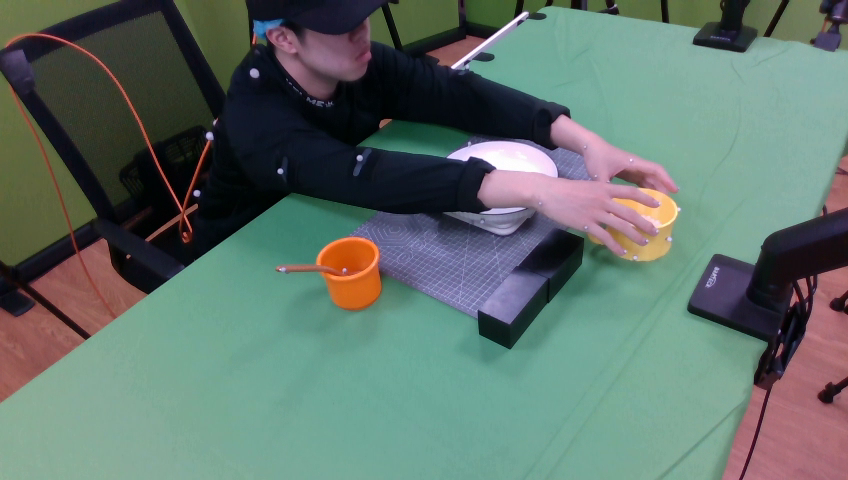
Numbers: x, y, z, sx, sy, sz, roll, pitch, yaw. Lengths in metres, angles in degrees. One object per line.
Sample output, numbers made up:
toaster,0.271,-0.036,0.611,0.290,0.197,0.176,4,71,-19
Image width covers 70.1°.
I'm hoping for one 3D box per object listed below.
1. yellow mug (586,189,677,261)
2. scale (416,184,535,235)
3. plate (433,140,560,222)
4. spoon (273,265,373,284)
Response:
yellow mug,0.310,-0.021,0.916,0.131,0.064,0.099,-8,39,-1
scale,0.100,-0.080,1.035,0.199,0.032,0.149,22,48,32
plate,0.119,-0.094,0.999,0.209,0.038,0.208,-5,41,5
spoon,-0.137,0.045,0.839,0.041,0.195,0.021,17,90,33
